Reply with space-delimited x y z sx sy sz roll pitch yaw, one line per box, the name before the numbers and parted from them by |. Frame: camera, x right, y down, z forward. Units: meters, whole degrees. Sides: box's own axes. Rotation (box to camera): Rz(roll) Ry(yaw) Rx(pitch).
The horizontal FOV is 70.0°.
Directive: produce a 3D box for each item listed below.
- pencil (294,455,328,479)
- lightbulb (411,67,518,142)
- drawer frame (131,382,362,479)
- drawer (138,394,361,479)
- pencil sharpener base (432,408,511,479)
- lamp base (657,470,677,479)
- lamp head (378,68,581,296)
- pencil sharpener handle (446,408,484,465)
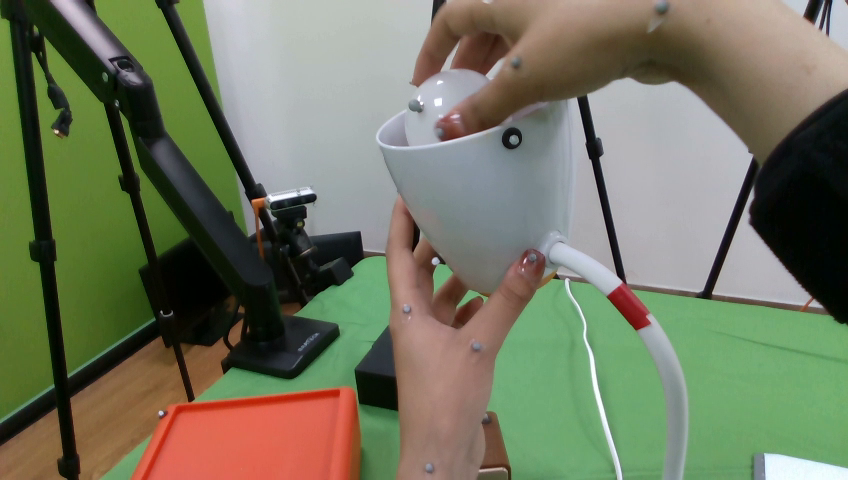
pencil | -0.158 0.252 0.524 0.194 0.012 0.012 -36 37 -30
lightbulb | 0.035 -0.046 0.344 0.059 0.108 0.059 -30 17 10
drawer frame | -0.163 0.234 0.554 0.202 0.083 0.212 -6 23 -2
drawer | -0.161 0.236 0.552 0.194 0.074 0.210 -6 23 -1
pencil sharpener base | 0.042 0.212 0.537 0.061 0.108 0.076 -5 24 -1
lamp base | 0.153 0.243 0.356 0.161 0.181 0.178 -7 21 -4
lamp head | 0.045 -0.028 0.358 0.112 0.124 0.111 -19 21 8
pencil sharpener handle | 0.037 0.181 0.578 0.036 0.068 0.030 0 24 -3
